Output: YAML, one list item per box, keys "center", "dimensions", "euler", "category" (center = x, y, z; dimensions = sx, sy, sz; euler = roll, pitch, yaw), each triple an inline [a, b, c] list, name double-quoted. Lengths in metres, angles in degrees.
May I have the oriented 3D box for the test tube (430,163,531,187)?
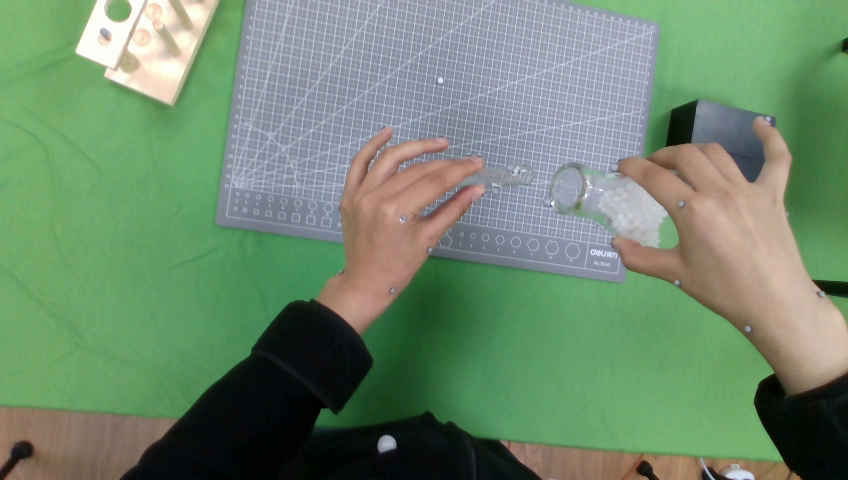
- center: [0.041, -0.052, 0.501]
  dimensions: [0.017, 0.149, 0.017]
  euler: [-2, 94, -24]
  category: "test tube"

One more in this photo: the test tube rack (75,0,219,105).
- center: [-0.226, -0.257, 0.562]
  dimensions: [0.067, 0.085, 0.242]
  euler: [23, 87, -10]
  category: "test tube rack"

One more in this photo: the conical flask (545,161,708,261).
- center: [0.148, -0.028, 0.454]
  dimensions: [0.123, 0.075, 0.075]
  euler: [11, 88, -32]
  category: "conical flask"
